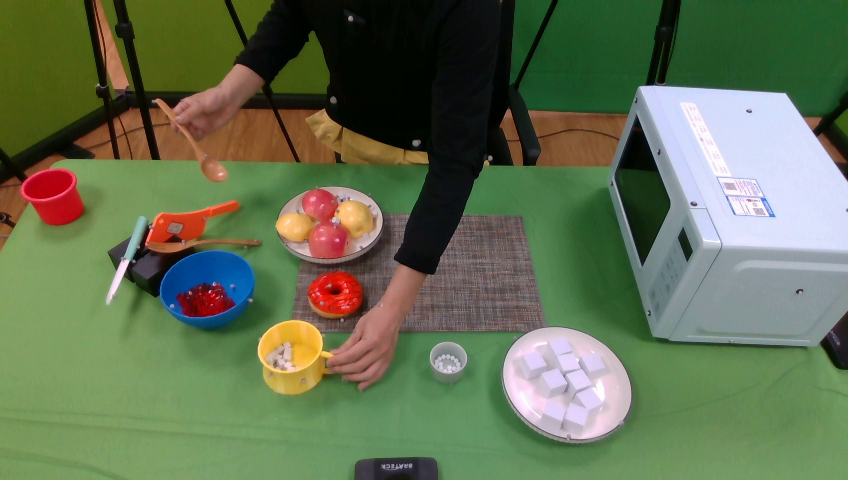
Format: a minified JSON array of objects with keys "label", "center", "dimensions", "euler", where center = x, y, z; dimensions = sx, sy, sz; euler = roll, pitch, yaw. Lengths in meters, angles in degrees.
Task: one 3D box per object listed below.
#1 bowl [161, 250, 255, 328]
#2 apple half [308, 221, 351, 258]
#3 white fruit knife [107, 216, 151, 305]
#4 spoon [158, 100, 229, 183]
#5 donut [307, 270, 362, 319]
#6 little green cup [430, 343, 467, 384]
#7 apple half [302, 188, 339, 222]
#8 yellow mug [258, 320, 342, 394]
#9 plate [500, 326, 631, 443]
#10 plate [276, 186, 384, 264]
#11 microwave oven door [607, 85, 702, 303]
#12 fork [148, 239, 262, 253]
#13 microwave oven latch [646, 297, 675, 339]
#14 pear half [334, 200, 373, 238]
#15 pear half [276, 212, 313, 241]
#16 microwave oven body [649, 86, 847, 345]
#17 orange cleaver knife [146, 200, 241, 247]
[{"label":"bowl","center":[-0.362,0.097,1.040],"dimensions":[0.151,0.077,0.150],"euler":[2,45,-2]},{"label":"apple half","center":[-0.180,-0.005,1.150],"dimensions":[0.074,0.053,0.080],"euler":[14,43,9]},{"label":"white fruit knife","center":[-0.518,0.032,1.066],"dimensions":[0.027,0.016,0.206],"euler":[-18,45,19]},{"label":"spoon","center":[-0.429,-0.184,1.122],"dimensions":[0.041,0.021,0.194],"euler":[-38,94,-36]},{"label":"donut","center":[-0.157,0.097,1.073],"dimensions":[0.099,0.048,0.098],"euler":[4,46,-4]},{"label":"little green cup","center":[0.039,0.203,0.993],"dimensions":[0.061,0.039,0.061],"euler":[2,46,-2]},{"label":"apple half","center":[-0.205,-0.076,1.217],"dimensions":[0.081,0.033,0.081],"euler":[17,46,-19]},{"label":"yellow mug","center":[-0.195,0.189,0.971],"dimensions":[0.131,0.064,0.099],"euler":[9,46,3]},{"label":"plate","center":[0.224,0.234,0.978],"dimensions":[0.208,0.039,0.206],"euler":[2,46,-2]},{"label":"plate","center":[-0.184,-0.027,1.194],"dimensions":[0.209,0.038,0.208],"euler":[2,46,-2]},{"label":"microwave oven door","center":[0.423,-0.094,1.140],"dimensions":[0.039,0.245,0.353],"euler":[2,46,-1]},{"label":"fork","center":[-0.398,0.008,1.117],"dimensions":[0.208,0.019,0.028],"euler":[-5,34,-37]},{"label":"microwave oven latch","center":[0.412,0.134,1.061],"dimensions":[0.030,0.029,0.078],"euler":[4,45,1]},{"label":"pear half","center":[-0.147,-0.059,1.210],"dimensions":[0.076,0.056,0.109],"euler":[-17,44,-25]},{"label":"pear half","center":[-0.244,-0.035,1.178],"dimensions":[0.070,0.031,0.088],"euler":[40,42,1]},{"label":"microwave oven body","center":[0.567,-0.053,1.118],"dimensions":[0.326,0.261,0.439],"euler":[2,45,-1]},{"label":"orange cleaver knife","center":[-0.435,-0.033,1.157],"dimensions":[0.012,0.077,0.211],"euler":[31,26,19]}]
